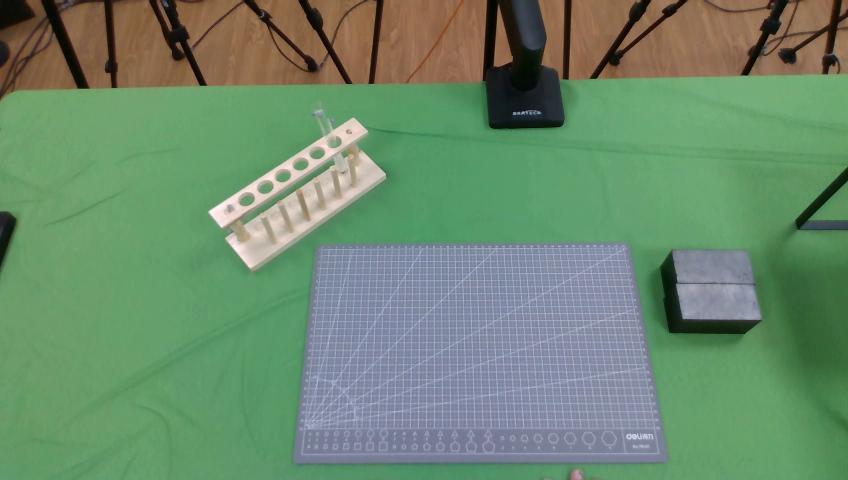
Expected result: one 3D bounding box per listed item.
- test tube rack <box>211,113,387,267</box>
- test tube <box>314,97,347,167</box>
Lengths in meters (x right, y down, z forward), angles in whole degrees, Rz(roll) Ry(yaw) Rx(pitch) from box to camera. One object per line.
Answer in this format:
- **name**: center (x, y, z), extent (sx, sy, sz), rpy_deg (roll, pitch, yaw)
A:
- **test tube rack**: center (-0.170, -0.072, 0.862), extent (0.242, 0.086, 0.066), rpy_deg (-37, 67, -17)
- **test tube**: center (-0.128, -0.146, 0.846), extent (0.017, 0.151, 0.017), rpy_deg (-2, 64, 5)
